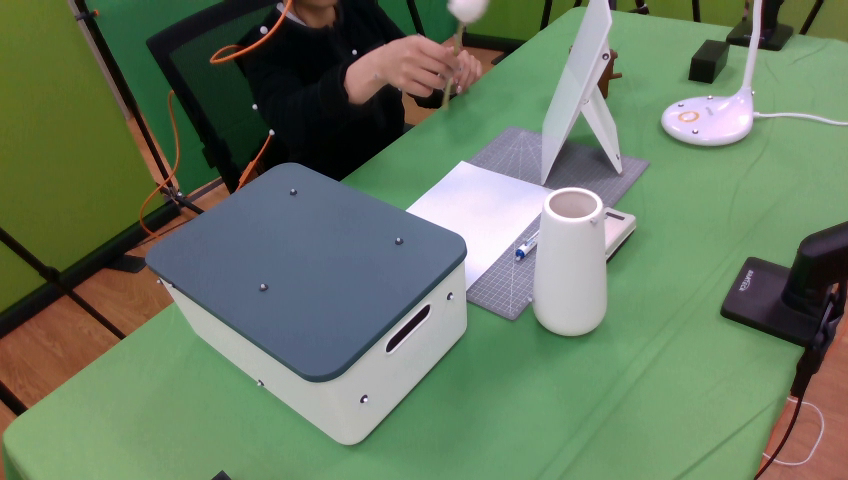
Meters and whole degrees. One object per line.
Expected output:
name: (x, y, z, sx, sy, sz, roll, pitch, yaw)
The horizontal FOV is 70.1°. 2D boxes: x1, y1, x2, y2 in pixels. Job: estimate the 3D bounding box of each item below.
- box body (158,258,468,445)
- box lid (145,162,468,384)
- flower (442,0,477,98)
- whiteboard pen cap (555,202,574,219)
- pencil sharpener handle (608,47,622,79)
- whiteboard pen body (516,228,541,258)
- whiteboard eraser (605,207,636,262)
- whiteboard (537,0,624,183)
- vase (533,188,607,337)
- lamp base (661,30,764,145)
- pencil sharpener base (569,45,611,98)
box body: (-0.147, 0.072, 0.816, 0.361, 0.161, 0.255, 24, 50, 33)
box lid: (-0.158, 0.014, 0.769, 0.368, 0.015, 0.264, 25, 51, 33)
flower: (0.038, -0.262, 0.848, 0.044, 0.362, 0.038, -36, 86, -4)
whiteboard pen cap: (0.230, -0.048, 0.994, 0.018, 0.018, 0.033, 26, 53, 34)
pencil sharpener handle: (0.395, -0.369, 1.254, 0.031, 0.068, 0.036, -10, 32, -1)
whiteboard pen body: (0.192, -0.015, 0.963, 0.017, 0.017, 0.141, 26, 51, 34)
whiteboard eraser: (0.272, -0.003, 0.919, 0.055, 0.042, 0.113, 27, 51, 32)
whiteboard: (0.316, -0.256, 1.047, 0.144, 0.306, 0.216, 15, 42, -1)
vase: (0.187, 0.033, 0.771, 0.098, 0.201, 0.097, -6, 41, 6)
lamp base: (0.535, -0.287, 1.095, 0.179, 0.181, 0.159, -10, 40, -4)
pencil sharpener base: (0.346, -0.352, 1.262, 0.077, 0.107, 0.061, -10, 40, -1)
